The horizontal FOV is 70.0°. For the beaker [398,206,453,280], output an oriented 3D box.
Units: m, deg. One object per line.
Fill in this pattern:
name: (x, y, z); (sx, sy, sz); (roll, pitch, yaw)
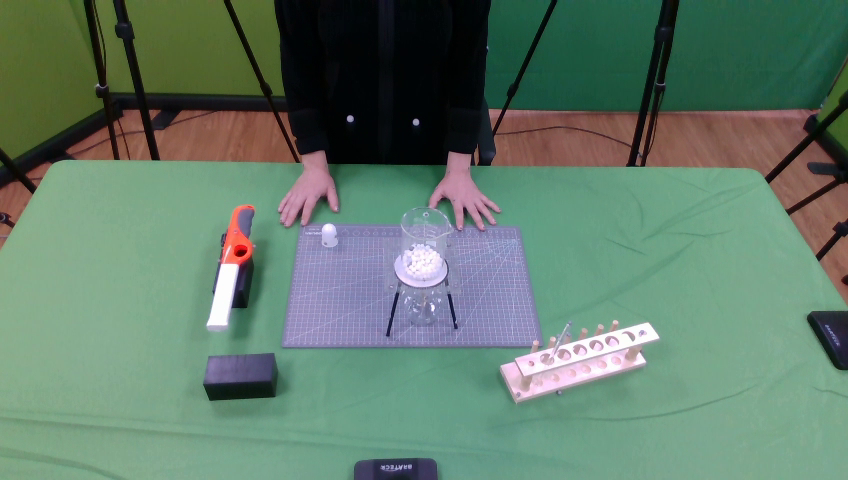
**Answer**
beaker: (0.000, 0.008, 0.950); (0.084, 0.101, 0.073); (10, 45, 6)

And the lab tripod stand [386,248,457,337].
lab tripod stand: (-0.010, 0.087, 1.032); (0.148, 0.132, 0.147); (1, 45, -1)

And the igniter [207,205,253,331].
igniter: (-0.339, 0.038, 1.066); (0.057, 0.025, 0.274); (2, 48, -6)

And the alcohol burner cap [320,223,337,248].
alcohol burner cap: (-0.187, -0.011, 1.176); (0.034, 0.048, 0.033); (2, 46, -2)

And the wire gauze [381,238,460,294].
wire gauze: (-0.008, 0.042, 0.985); (0.125, 0.011, 0.120); (-1, 43, -2)

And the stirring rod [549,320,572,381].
stirring rod: (0.202, 0.168, 0.901); (0.006, 0.177, 0.014); (-17, 54, -11)

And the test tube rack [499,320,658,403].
test tube rack: (0.252, 0.187, 0.994); (0.243, 0.085, 0.066); (-12, 48, -15)

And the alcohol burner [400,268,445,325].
alcohol burner: (-0.003, 0.092, 1.042); (0.078, 0.120, 0.077); (1, 46, -1)
